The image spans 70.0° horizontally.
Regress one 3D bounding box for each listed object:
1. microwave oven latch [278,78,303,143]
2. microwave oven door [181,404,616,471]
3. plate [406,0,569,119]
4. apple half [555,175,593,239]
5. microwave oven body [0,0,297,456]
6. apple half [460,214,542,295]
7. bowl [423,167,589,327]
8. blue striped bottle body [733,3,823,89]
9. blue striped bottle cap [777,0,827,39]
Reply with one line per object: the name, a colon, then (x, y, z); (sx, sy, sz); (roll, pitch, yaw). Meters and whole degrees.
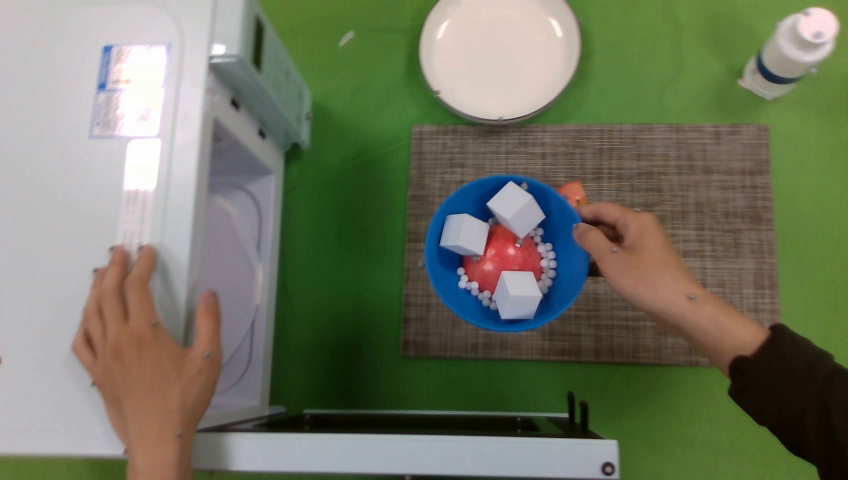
microwave oven latch: (-0.176, -0.167, 0.782); (0.030, 0.029, 0.079); (6, 81, 6)
microwave oven door: (-0.014, 0.190, 0.598); (0.355, 0.245, 0.039); (-1, 79, 5)
plate: (0.082, -0.253, 0.795); (0.207, 0.039, 0.206); (-1, 79, 5)
apple half: (0.163, -0.031, 0.723); (0.053, 0.075, 0.080); (-20, 82, 6)
microwave oven body: (-0.329, -0.008, 0.667); (0.326, 0.261, 0.440); (-1, 80, 4)
apple half: (0.077, 0.012, 0.578); (0.081, 0.033, 0.081); (0, 79, 2)
bowl: (0.076, 0.015, 0.581); (0.151, 0.077, 0.150); (-1, 74, 3)
blue striped bottle body: (0.421, -0.233, 0.717); (0.063, 0.121, 0.063); (-1, 78, 5)
blue striped bottle cap: (0.417, -0.244, 0.667); (0.044, 0.021, 0.044); (-1, 82, 5)
